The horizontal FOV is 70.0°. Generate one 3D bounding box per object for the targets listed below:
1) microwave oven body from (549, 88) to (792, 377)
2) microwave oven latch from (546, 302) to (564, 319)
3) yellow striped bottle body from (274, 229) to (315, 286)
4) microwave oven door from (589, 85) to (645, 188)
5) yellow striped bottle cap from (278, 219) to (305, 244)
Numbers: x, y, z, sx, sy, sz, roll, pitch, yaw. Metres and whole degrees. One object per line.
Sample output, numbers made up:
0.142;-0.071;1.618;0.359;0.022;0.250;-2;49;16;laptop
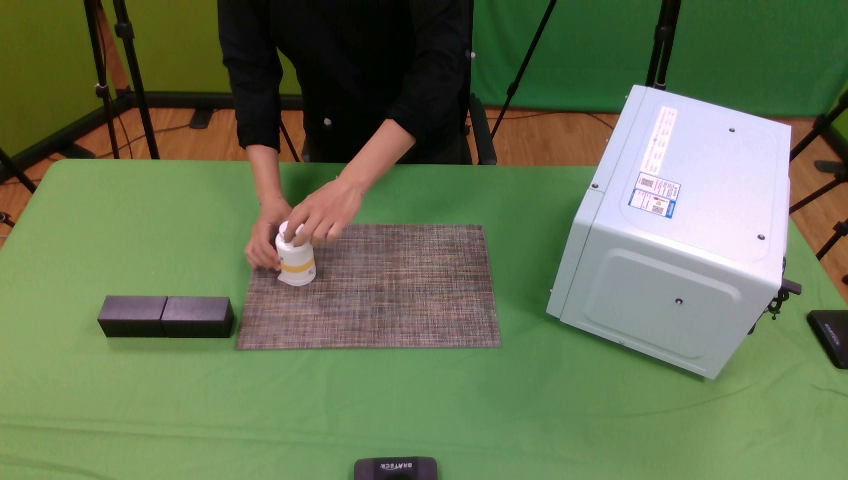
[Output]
0.456;-0.028;1.088;0.325;0.261;0.440;20;47;16;microwave oven body
0.242;0.102;1.081;0.030;0.029;0.079;22;48;17;microwave oven latch
-0.231;0.022;1.083;0.063;0.121;0.062;2;46;-2;yellow striped bottle body
0.341;-0.107;1.148;0.039;0.245;0.354;20;48;15;microwave oven door
-0.229;-0.015;1.045;0.044;0.019;0.044;1;47;-1;yellow striped bottle cap
